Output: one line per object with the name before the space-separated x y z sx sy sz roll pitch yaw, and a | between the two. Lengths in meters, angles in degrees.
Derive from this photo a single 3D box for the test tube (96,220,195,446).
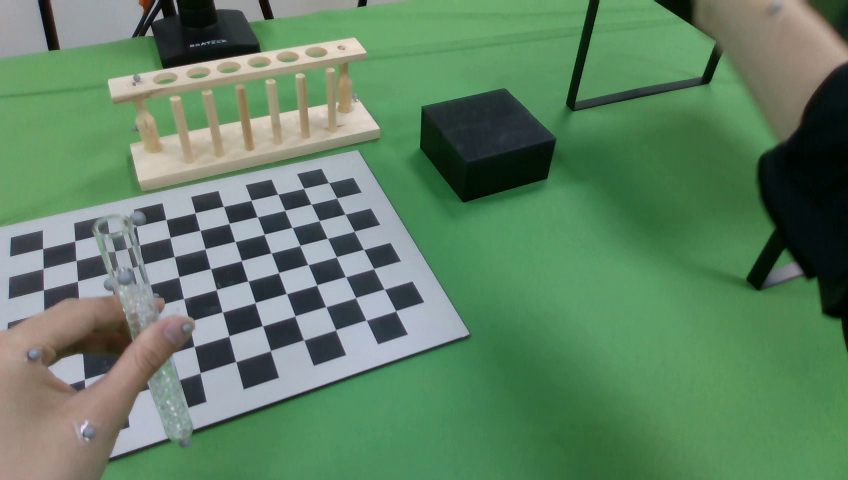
test tube | -0.135 0.054 0.301 0.017 0.151 0.017 2 38 -1

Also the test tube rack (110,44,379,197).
test tube rack | -0.170 -0.124 0.609 0.243 0.086 0.066 -17 47 -20
